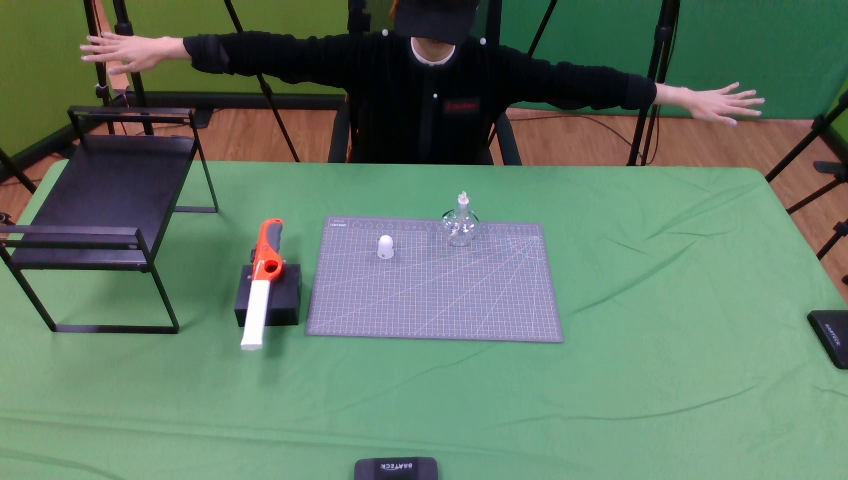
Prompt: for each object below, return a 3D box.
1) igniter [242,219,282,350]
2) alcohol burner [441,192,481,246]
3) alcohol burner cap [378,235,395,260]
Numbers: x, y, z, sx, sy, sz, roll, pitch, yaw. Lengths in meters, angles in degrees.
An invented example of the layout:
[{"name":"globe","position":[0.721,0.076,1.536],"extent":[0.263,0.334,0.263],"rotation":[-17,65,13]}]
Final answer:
[{"name":"igniter","position":[-0.277,0.065,1.043],"extent":[0.057,0.025,0.274],"rotation":[1,48,-6]},{"name":"alcohol burner","position":[0.073,-0.046,1.176],"extent":[0.078,0.119,0.077],"rotation":[2,44,-2]},{"name":"alcohol burner cap","position":[-0.073,0.012,1.160],"extent":[0.034,0.048,0.033],"rotation":[1,46,0]}]
